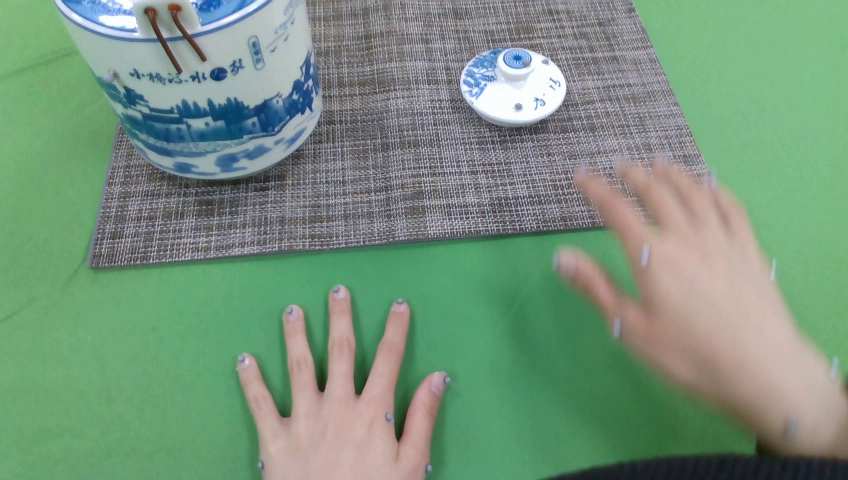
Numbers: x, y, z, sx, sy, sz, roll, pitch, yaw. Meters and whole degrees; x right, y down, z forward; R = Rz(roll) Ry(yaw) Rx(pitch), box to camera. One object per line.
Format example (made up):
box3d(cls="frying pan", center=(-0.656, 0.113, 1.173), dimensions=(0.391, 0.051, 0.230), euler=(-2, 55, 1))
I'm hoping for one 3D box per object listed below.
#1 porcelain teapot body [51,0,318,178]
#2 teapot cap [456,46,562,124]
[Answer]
box3d(cls="porcelain teapot body", center=(-0.158, -0.177, 0.399), dimensions=(0.145, 0.227, 0.203), euler=(-10, 58, -8))
box3d(cls="teapot cap", center=(0.068, -0.130, 0.483), dimensions=(0.085, 0.044, 0.084), euler=(-1, 57, 2))
